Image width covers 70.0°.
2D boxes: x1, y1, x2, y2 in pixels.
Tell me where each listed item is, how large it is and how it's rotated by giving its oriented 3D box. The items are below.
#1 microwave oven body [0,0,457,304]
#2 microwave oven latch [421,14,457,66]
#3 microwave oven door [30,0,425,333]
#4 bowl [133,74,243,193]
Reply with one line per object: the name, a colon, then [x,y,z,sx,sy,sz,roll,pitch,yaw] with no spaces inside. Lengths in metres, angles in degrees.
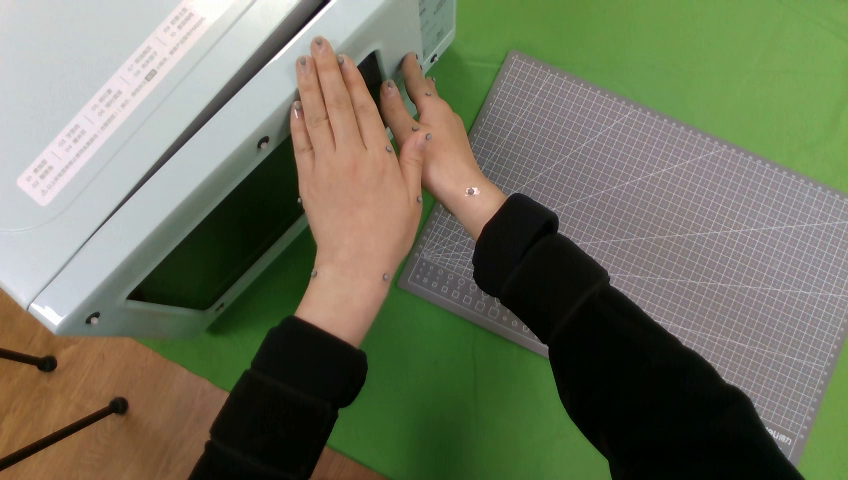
microwave oven body: [-0.228,-0.189,0.562,0.325,0.261,0.441,39,85,6]
microwave oven latch: [0.003,-0.217,0.658,0.030,0.029,0.079,41,85,6]
microwave oven door: [-0.135,-0.059,0.535,0.039,0.244,0.355,43,84,7]
bowl: [-0.234,-0.107,0.582,0.151,0.077,0.150,-1,78,3]
